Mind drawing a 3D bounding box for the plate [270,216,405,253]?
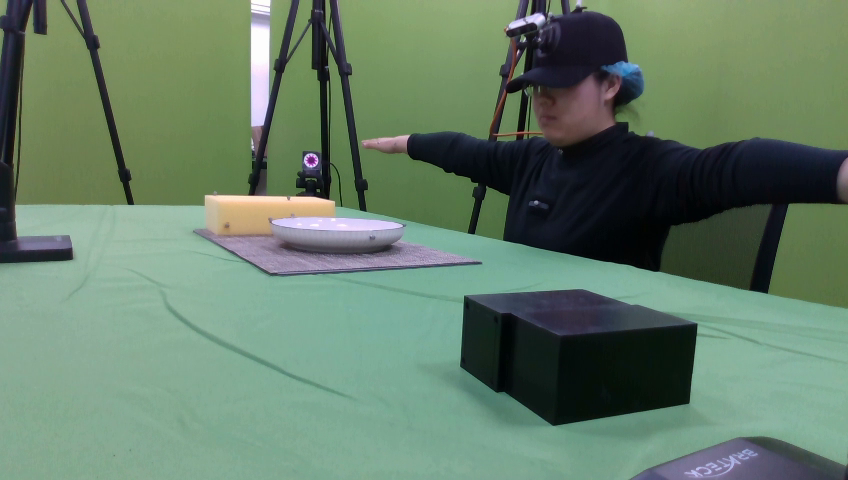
[{"bbox_3d":[-0.134,-0.010,0.946,0.208,0.039,0.207,2,7,0],"label":"plate"}]

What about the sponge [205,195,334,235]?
[{"bbox_3d":[-0.280,-0.047,1.097,0.208,0.061,0.117,-2,9,-30],"label":"sponge"}]
